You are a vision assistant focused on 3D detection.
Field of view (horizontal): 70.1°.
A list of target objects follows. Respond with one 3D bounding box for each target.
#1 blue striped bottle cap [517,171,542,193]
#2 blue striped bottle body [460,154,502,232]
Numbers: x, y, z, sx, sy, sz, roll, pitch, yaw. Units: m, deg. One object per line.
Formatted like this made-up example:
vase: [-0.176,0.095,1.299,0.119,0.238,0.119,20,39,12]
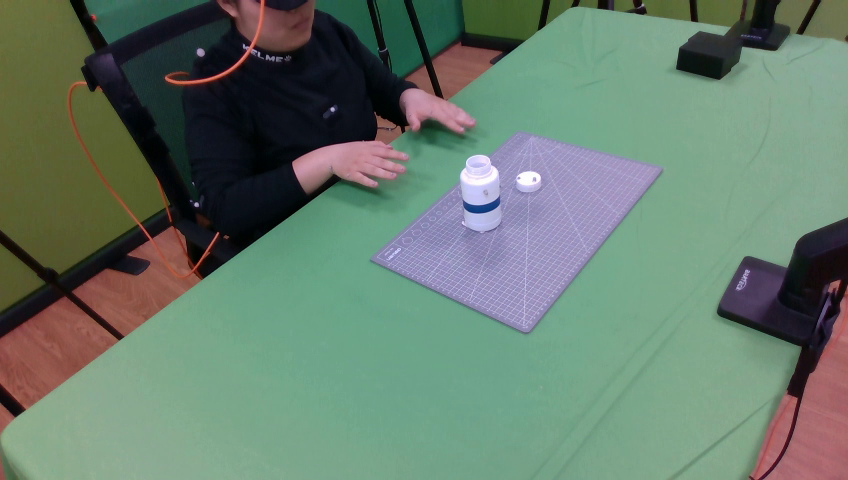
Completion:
blue striped bottle cap: [0.187,-0.103,1.072,0.044,0.021,0.044,-5,42,5]
blue striped bottle body: [0.092,-0.078,0.976,0.063,0.121,0.063,-6,40,5]
